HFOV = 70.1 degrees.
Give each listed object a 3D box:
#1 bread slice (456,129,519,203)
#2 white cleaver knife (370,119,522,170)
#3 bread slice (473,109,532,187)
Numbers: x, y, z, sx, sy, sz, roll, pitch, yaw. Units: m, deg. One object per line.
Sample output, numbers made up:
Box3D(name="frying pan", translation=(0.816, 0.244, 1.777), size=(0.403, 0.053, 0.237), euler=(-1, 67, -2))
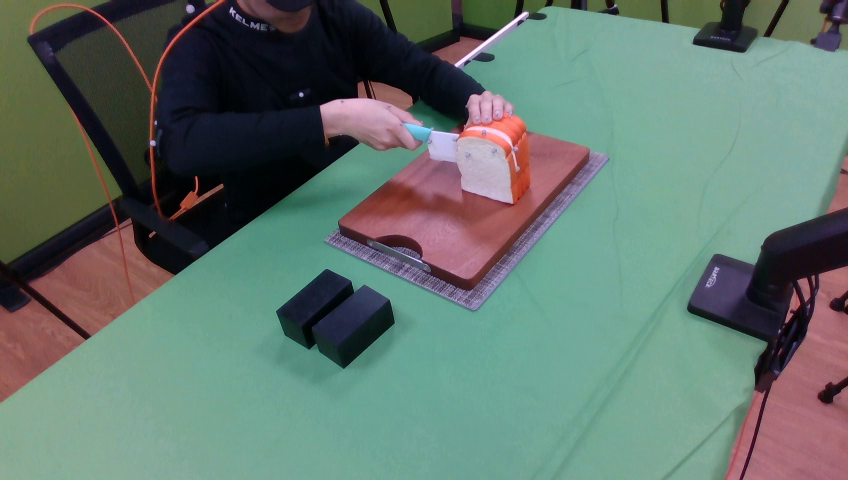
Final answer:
Box3D(name="bread slice", translation=(0.098, -0.118, 0.968), size=(0.104, 0.132, 0.019), euler=(16, 52, 27))
Box3D(name="white cleaver knife", translation=(0.027, -0.156, 1.000), size=(0.284, 0.066, 0.021), euler=(16, 48, 30))
Box3D(name="bread slice", translation=(0.128, -0.151, 1.000), size=(0.106, 0.135, 0.018), euler=(19, 48, 26))
